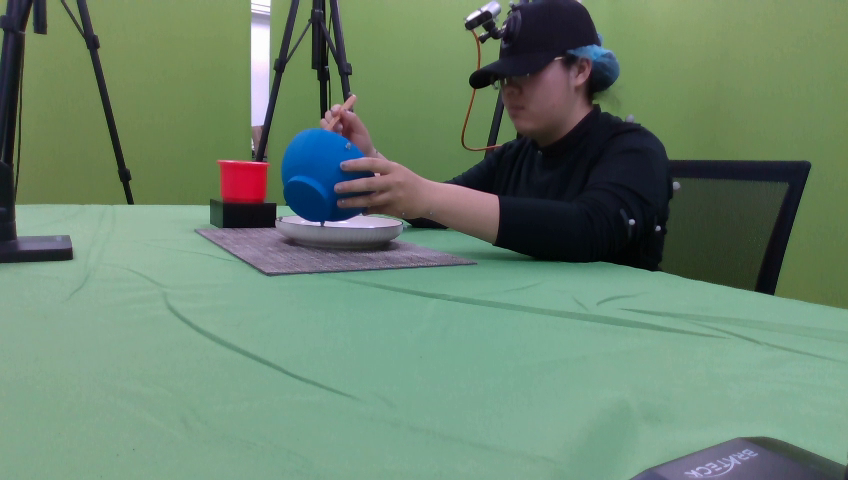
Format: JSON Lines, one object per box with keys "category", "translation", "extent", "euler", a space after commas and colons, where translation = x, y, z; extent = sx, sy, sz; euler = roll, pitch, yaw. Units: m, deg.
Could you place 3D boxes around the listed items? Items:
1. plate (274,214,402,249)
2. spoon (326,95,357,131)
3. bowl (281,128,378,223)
{"category": "plate", "translation": [-0.141, -0.015, 0.993], "extent": [0.208, 0.039, 0.207], "euler": [3, 8, 0]}
{"category": "spoon", "translation": [-0.160, -0.202, 1.067], "extent": [0.042, 0.194, 0.021], "euler": [33, -38, -6]}
{"category": "bowl", "translation": [-0.152, -0.077, 0.873], "extent": [0.151, 0.151, 0.077], "euler": [6, 42, 26]}
